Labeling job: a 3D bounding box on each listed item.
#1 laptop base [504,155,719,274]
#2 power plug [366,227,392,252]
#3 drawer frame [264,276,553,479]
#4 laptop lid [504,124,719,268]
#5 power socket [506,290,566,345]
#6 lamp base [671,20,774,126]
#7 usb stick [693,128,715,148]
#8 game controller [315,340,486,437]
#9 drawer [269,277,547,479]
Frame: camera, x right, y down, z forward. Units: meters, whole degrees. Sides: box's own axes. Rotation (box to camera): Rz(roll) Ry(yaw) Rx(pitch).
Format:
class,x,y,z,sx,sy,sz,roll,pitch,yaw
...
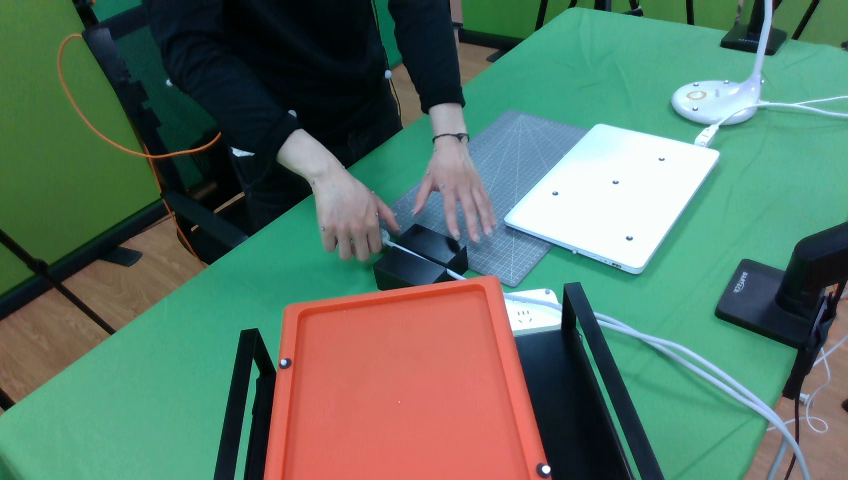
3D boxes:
class,x,y,z,sx,sy,sz,roll,pitch,yaw
laptop base,0.326,-0.083,1.028,0.233,0.023,0.355,21,48,32
power plug,-0.069,0.009,0.955,0.035,0.053,0.072,-30,49,1
drawer frame,-0.016,0.137,0.490,0.202,0.083,0.212,-8,41,-1
laptop lid,0.323,-0.093,1.021,0.240,0.013,0.358,23,49,32
power socket,0.081,0.112,0.822,0.227,0.033,0.072,-7,41,0
lamp base,0.581,-0.332,1.154,0.179,0.181,0.160,2,42,7
usb stick,0.501,-0.176,1.092,0.021,0.027,0.059,29,55,29
game controller,-0.021,0.120,0.534,0.155,0.052,0.096,-3,37,0
drawer,-0.018,0.137,0.493,0.195,0.073,0.210,-7,41,-1
